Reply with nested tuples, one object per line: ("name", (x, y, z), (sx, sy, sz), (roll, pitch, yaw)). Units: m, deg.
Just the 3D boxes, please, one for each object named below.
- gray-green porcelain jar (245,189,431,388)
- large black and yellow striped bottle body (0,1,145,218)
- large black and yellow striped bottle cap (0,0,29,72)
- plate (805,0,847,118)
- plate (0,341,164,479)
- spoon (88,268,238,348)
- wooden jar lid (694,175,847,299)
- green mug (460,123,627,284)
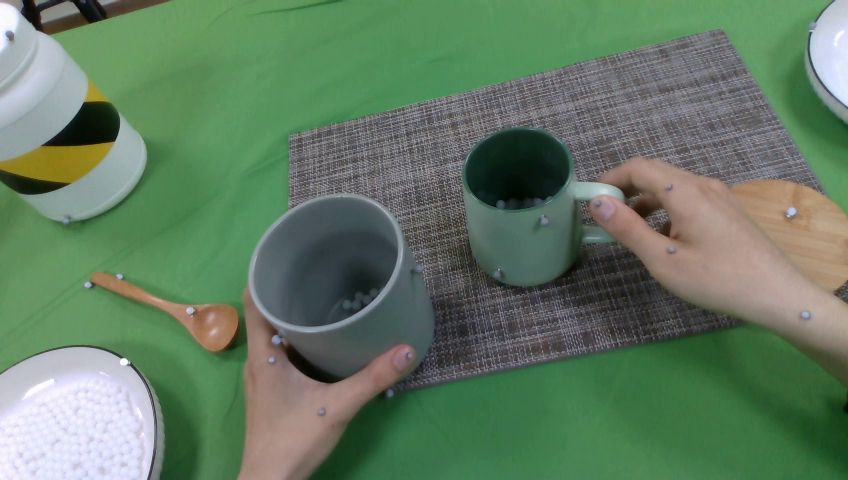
("gray-green porcelain jar", (-0.053, 0.043, 0.440), (0.106, 0.128, 0.105), (-6, 56, 10))
("large black and yellow striped bottle body", (-0.381, -0.121, 0.588), (0.130, 0.186, 0.129), (-6, 57, 10))
("large black and yellow striped bottle cap", (-0.398, -0.163, 0.518), (0.115, 0.019, 0.114), (-6, 56, 10))
("plate", (0.431, -0.150, 0.505), (0.207, 0.039, 0.205), (-6, 57, 10))
("plate", (-0.294, 0.181, 0.468), (0.209, 0.038, 0.207), (-6, 57, 9))
("spoon", (-0.240, 0.052, 0.545), (0.192, 0.022, 0.041), (17, 81, 22))
("wooden jar lid", (0.262, -0.001, 0.458), (0.108, 0.021, 0.107), (-7, 58, 11))
("green mug", (0.089, -0.024, 0.462), (0.125, 0.106, 0.092), (6, 59, 16))
